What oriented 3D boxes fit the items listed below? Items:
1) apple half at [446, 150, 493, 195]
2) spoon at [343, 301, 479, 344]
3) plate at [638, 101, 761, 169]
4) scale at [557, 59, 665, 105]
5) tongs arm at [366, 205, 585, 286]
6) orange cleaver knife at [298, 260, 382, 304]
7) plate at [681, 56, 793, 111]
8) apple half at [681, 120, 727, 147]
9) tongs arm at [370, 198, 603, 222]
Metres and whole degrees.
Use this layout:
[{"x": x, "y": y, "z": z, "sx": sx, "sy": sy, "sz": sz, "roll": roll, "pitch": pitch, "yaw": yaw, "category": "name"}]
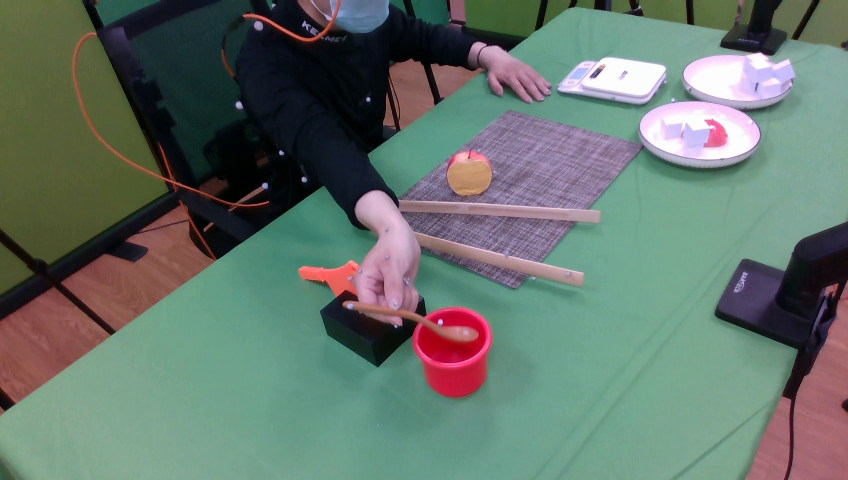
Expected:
[{"x": 0.080, "y": -0.123, "z": 1.065, "sx": 0.081, "sy": 0.075, "sz": 0.053, "roll": -7, "pitch": 36, "yaw": 7, "category": "apple half"}, {"x": -0.011, "y": 0.092, "z": 0.696, "sx": 0.041, "sy": 0.195, "sz": 0.021, "roll": 32, "pitch": 97, "yaw": 54, "category": "spoon"}, {"x": 0.500, "y": -0.189, "z": 1.111, "sx": 0.209, "sy": 0.038, "sz": 0.208, "roll": -4, "pitch": 41, "yaw": 4, "category": "plate"}, {"x": 0.407, "y": -0.348, "z": 1.314, "sx": 0.199, "sy": 0.032, "sz": 0.149, "roll": 19, "pitch": 47, "yaw": 28, "category": "scale"}, {"x": 0.067, "y": 0.004, "z": 0.951, "sx": 0.382, "sy": 0.026, "sz": 0.051, "roll": 13, "pitch": 46, "yaw": 24, "category": "tongs arm"}, {"x": -0.125, "y": 0.063, "z": 0.876, "sx": 0.012, "sy": 0.077, "sz": 0.210, "roll": -38, "pitch": 19, "yaw": -30, "category": "orange cleaver knife"}, {"x": 0.636, "y": -0.317, "z": 1.239, "sx": 0.207, "sy": 0.039, "sz": 0.206, "roll": -4, "pitch": 40, "yaw": 4, "category": "plate"}, {"x": 0.518, "y": -0.202, "z": 1.115, "sx": 0.081, "sy": 0.033, "sz": 0.081, "roll": -1, "pitch": 40, "yaw": 2, "category": "apple half"}, {"x": 0.098, "y": -0.048, "z": 1.008, "sx": 0.386, "sy": 0.028, "sz": 0.028, "roll": 3, "pitch": 46, "yaw": 13, "category": "tongs arm"}]
